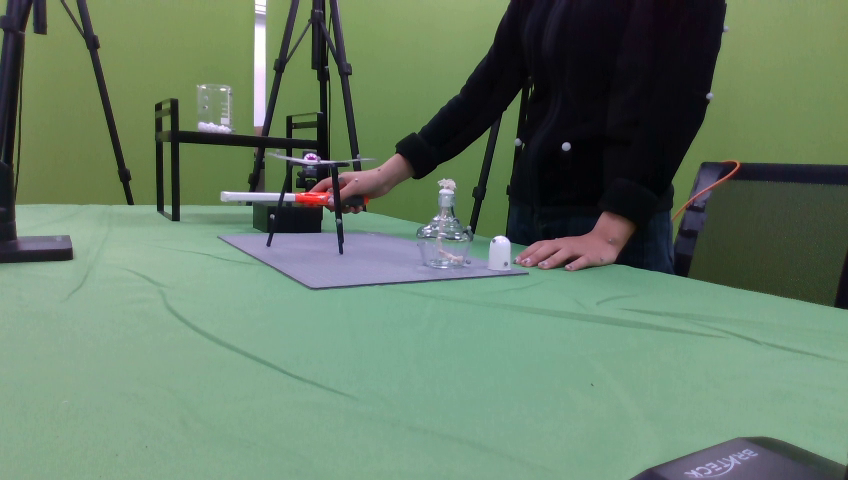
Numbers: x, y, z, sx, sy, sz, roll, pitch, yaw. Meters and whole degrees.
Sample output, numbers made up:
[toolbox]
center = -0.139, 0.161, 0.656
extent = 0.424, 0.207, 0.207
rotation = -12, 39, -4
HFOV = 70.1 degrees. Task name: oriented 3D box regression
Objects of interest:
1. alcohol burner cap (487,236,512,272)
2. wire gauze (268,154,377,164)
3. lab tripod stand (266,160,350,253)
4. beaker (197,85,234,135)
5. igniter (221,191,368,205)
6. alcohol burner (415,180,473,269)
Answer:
[alcohol burner cap]
center = 0.101, 0.019, 0.802
extent = 0.034, 0.048, 0.034
rotation = 2, 7, 0
[wire gauze]
center = -0.154, -0.120, 0.910
extent = 0.122, 0.011, 0.124
rotation = -5, 11, -44
[lab tripod stand]
center = -0.163, -0.054, 0.914
extent = 0.148, 0.131, 0.148
rotation = 2, 9, 0
[beaker]
center = -0.444, -0.275, 1.283
extent = 0.074, 0.100, 0.084
rotation = 5, 8, 22
[igniter]
center = -0.240, -0.081, 1.153
extent = 0.278, 0.025, 0.057
rotation = -1, 8, -29
[alcohol burner]
center = 0.028, -0.021, 0.807
extent = 0.078, 0.119, 0.078
rotation = 4, 5, 0
